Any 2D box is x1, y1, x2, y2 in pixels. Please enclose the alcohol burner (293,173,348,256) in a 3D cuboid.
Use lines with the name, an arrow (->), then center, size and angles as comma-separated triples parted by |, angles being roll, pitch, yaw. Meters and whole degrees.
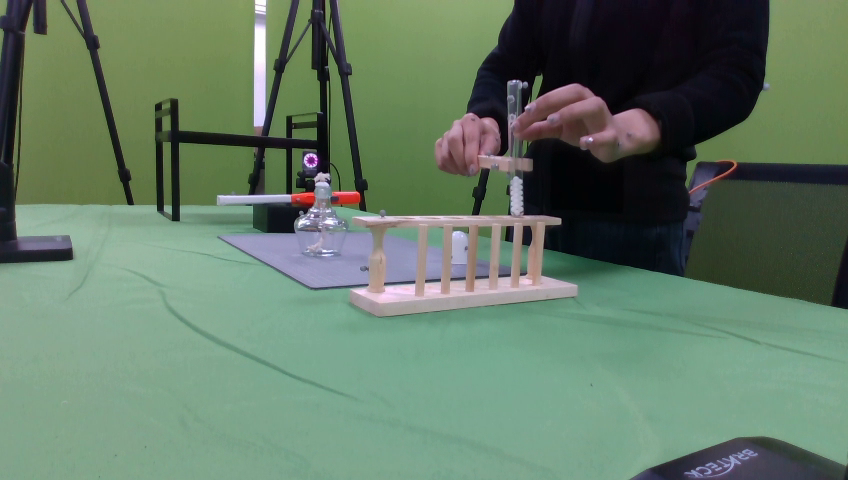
alcohol burner -> -0.146, -0.036, 0.859 | 0.078, 0.119, 0.078 | 4, 8, 0

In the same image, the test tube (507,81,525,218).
test tube -> 0.101, -0.099, 0.665 | 0.017, 0.150, 0.017 | -2, 2, 0

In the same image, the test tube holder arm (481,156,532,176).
test tube holder arm -> 0.089, -0.086, 0.699 | 0.010, 0.015, 0.087 | -1, 13, -40

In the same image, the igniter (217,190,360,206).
igniter -> -0.248, -0.080, 1.150 | 0.278, 0.025, 0.057 | -5, 7, -29

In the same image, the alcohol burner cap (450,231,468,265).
alcohol burner cap -> 0.047, 0.011, 0.838 | 0.034, 0.048, 0.034 | 0, 5, 0

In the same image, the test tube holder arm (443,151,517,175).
test tube holder arm -> 0.063, -0.096, 0.734 | 0.013, 0.015, 0.177 | 4, 10, -25

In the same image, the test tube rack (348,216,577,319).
test tube rack -> 0.048, 0.021, 0.619 | 0.244, 0.085, 0.066 | -2, 9, -31
